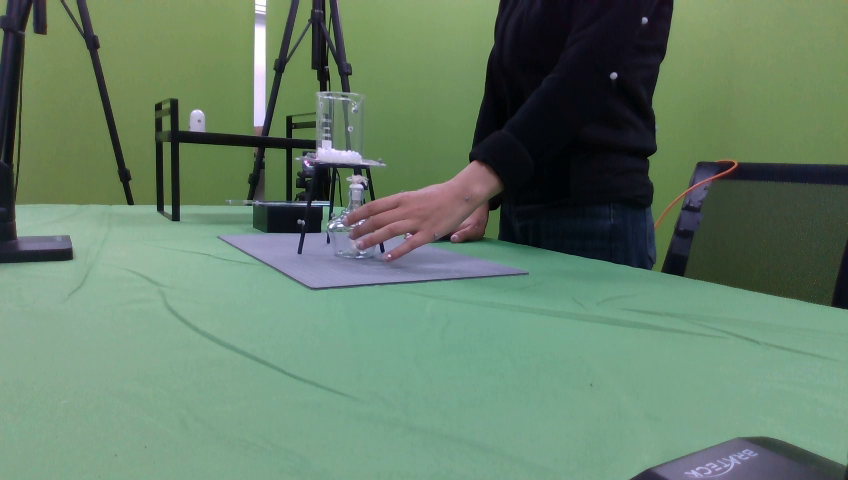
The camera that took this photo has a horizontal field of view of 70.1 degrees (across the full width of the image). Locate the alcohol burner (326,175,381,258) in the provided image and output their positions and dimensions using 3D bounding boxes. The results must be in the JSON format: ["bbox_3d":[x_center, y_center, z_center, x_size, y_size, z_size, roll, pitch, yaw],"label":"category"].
[{"bbox_3d":[-0.099,-0.034,0.858,0.078,0.119,0.078,5,8,0],"label":"alcohol burner"}]

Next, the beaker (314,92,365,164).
[{"bbox_3d":[-0.123,-0.163,0.893,0.073,0.100,0.084,8,9,30],"label":"beaker"}]

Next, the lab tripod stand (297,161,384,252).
[{"bbox_3d":[-0.130,-0.051,0.903,0.148,0.131,0.148,3,9,0],"label":"lab tripod stand"}]

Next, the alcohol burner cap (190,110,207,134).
[{"bbox_3d":[-0.464,-0.242,1.240,0.034,0.048,0.034,2,7,0],"label":"alcohol burner cap"}]

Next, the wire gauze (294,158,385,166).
[{"bbox_3d":[-0.128,-0.117,0.901,0.125,0.011,0.121,-2,8,-14],"label":"wire gauze"}]

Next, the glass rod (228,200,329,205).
[{"bbox_3d":[-0.268,-0.071,1.148,0.201,0.008,0.008,-1,8,-28],"label":"glass rod"}]
